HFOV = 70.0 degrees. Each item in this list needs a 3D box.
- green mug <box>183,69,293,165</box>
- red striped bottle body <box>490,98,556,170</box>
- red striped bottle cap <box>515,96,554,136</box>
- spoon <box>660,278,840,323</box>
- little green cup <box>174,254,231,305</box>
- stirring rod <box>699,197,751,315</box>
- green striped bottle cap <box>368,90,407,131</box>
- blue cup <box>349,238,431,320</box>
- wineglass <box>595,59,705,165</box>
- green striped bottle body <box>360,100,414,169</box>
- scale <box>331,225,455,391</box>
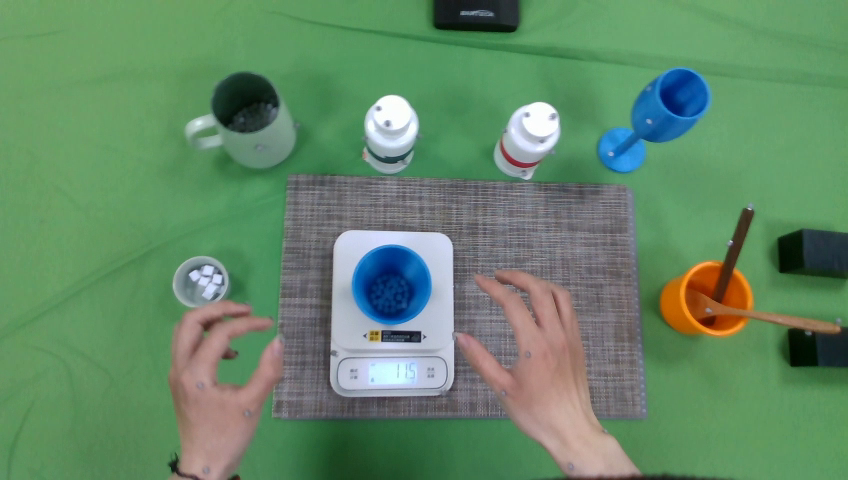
[{"bbox_3d":[-0.226,-0.140,0.731,0.125,0.105,0.092,-21,81,-9],"label":"green mug"},{"bbox_3d":[0.124,-0.134,0.755,0.063,0.120,0.063,1,78,-5],"label":"red striped bottle body"},{"bbox_3d":[0.129,-0.145,0.703,0.044,0.018,0.044,1,75,-4],"label":"red striped bottle cap"},{"bbox_3d":[0.380,0.077,0.722,0.022,0.192,0.041,21,81,-45],"label":"spoon"},{"bbox_3d":[-0.261,0.050,0.722,0.061,0.039,0.061,1,78,-6],"label":"little green cup"},{"bbox_3d":[0.361,0.025,0.731,0.014,0.177,0.006,6,37,9],"label":"stirring rod"},{"bbox_3d":[-0.041,-0.147,0.685,0.044,0.020,0.044,1,78,-4],"label":"green striped bottle cap"},{"bbox_3d":[-0.039,0.049,0.677,0.093,0.100,0.092,1,80,-5],"label":"blue cup"},{"bbox_3d":[0.271,-0.151,0.745,0.074,0.172,0.073,1,78,-4],"label":"wineglass"},{"bbox_3d":[-0.046,-0.134,0.739,0.063,0.119,0.063,1,78,-5],"label":"green striped bottle body"},{"bbox_3d":[-0.038,0.081,0.737,0.149,0.031,0.200,0,79,-5],"label":"scale"}]
